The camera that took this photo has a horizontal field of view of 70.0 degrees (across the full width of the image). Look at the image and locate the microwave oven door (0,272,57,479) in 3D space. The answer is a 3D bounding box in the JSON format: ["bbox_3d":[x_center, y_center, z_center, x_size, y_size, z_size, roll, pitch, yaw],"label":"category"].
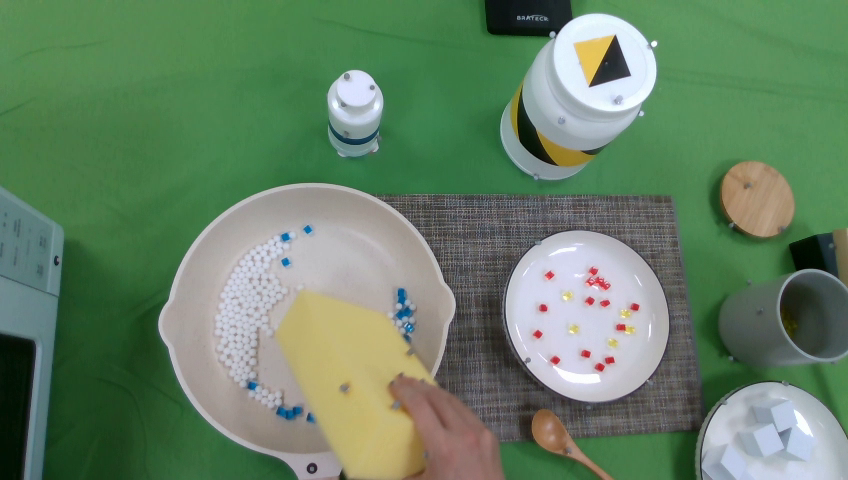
[{"bbox_3d":[-0.382,0.199,0.494,0.039,0.244,0.354,-1,77,-9],"label":"microwave oven door"}]

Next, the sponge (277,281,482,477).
[{"bbox_3d":[-0.051,0.131,0.593,0.119,0.204,0.061,24,102,-40],"label":"sponge"}]

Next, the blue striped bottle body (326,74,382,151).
[{"bbox_3d":[-0.083,-0.154,0.707,0.063,0.121,0.063,2,76,-9],"label":"blue striped bottle body"}]

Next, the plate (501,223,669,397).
[{"bbox_3d":[0.192,0.083,0.736,0.209,0.038,0.208,2,77,-8],"label":"plate"}]

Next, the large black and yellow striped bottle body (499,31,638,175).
[{"bbox_3d":[0.173,-0.167,0.719,0.131,0.184,0.130,2,76,-8],"label":"large black and yellow striped bottle body"}]

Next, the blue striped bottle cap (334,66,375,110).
[{"bbox_3d":[-0.075,-0.165,0.657,0.045,0.021,0.044,2,74,-7],"label":"blue striped bottle cap"}]

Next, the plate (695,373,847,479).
[{"bbox_3d":[0.421,0.267,0.734,0.208,0.039,0.206,2,76,-8],"label":"plate"}]

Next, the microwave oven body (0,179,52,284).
[{"bbox_3d":[-0.528,0.160,0.485,0.327,0.260,0.439,0,78,-10],"label":"microwave oven body"}]

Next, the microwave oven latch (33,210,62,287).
[{"bbox_3d":[-0.403,0.010,0.640,0.030,0.029,0.079,2,77,-9],"label":"microwave oven latch"}]

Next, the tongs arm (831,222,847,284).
[{"bbox_3d":[0.558,0.166,0.751,0.051,0.026,0.384,-6,88,-13],"label":"tongs arm"}]

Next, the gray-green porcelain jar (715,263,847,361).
[{"bbox_3d":[0.427,0.091,0.730,0.106,0.127,0.105,2,76,-9],"label":"gray-green porcelain jar"}]

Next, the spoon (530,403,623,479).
[{"bbox_3d":[0.196,0.259,0.705,0.194,0.022,0.041,40,57,0],"label":"spoon"}]

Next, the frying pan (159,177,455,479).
[{"bbox_3d":[-0.113,0.174,0.631,0.307,0.103,0.484,-2,69,-7],"label":"frying pan"}]

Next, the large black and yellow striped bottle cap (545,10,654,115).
[{"bbox_3d":[0.185,-0.187,0.637,0.115,0.019,0.114,2,75,-8],"label":"large black and yellow striped bottle cap"}]

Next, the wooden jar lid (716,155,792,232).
[{"bbox_3d":[0.446,-0.062,0.824,0.108,0.021,0.108,2,78,-8],"label":"wooden jar lid"}]
